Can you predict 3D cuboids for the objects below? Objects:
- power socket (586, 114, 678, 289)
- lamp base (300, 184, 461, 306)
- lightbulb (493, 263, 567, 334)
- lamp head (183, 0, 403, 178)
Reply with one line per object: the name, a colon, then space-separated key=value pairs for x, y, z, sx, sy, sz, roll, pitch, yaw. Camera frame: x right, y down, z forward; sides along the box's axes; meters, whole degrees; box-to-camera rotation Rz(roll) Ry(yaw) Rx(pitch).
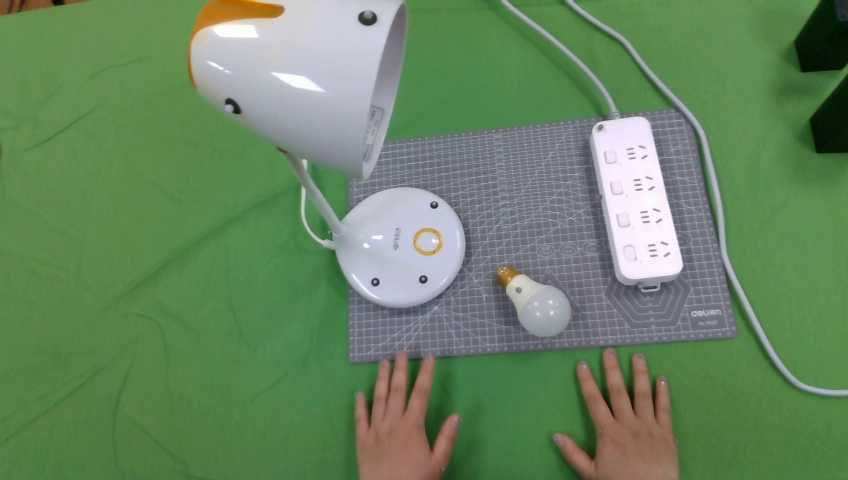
power socket: x=0.249 y=-0.054 z=0.734 sx=0.072 sy=0.033 sz=0.225 roll=-7 pitch=70 yaw=5
lamp base: x=-0.056 y=-0.019 z=0.685 sx=0.179 sy=0.181 sz=0.159 roll=-8 pitch=70 yaw=8
lightbulb: x=0.118 y=0.063 z=0.702 sx=0.059 sy=0.060 sz=0.106 roll=-41 pitch=57 yaw=-7
lamp head: x=-0.081 y=-0.104 z=0.379 sx=0.123 sy=0.113 sz=0.112 roll=12 pitch=73 yaw=5
